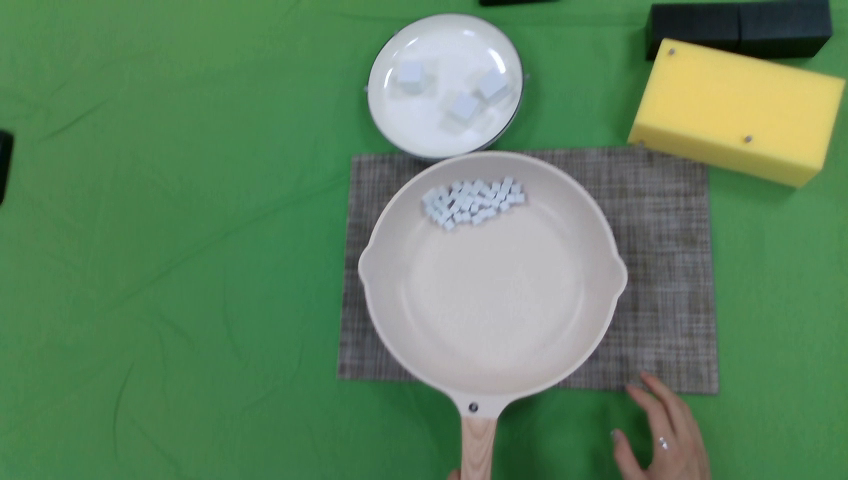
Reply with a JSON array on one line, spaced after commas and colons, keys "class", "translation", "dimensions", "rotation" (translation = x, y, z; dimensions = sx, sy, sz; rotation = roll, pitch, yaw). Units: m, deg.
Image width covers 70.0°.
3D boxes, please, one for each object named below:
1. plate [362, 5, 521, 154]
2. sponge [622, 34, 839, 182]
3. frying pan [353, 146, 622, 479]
[{"class": "plate", "translation": [0.024, -0.208, 0.803], "dimensions": [0.207, 0.039, 0.206], "rotation": [-2, 78, 9]}, {"class": "sponge", "translation": [0.359, -0.158, 0.723], "dimensions": [0.206, 0.061, 0.118], "rotation": [18, 78, 13]}, {"class": "frying pan", "translation": [0.060, 0.133, 0.684], "dimensions": [0.306, 0.103, 0.484], "rotation": [3, 70, 11]}]
